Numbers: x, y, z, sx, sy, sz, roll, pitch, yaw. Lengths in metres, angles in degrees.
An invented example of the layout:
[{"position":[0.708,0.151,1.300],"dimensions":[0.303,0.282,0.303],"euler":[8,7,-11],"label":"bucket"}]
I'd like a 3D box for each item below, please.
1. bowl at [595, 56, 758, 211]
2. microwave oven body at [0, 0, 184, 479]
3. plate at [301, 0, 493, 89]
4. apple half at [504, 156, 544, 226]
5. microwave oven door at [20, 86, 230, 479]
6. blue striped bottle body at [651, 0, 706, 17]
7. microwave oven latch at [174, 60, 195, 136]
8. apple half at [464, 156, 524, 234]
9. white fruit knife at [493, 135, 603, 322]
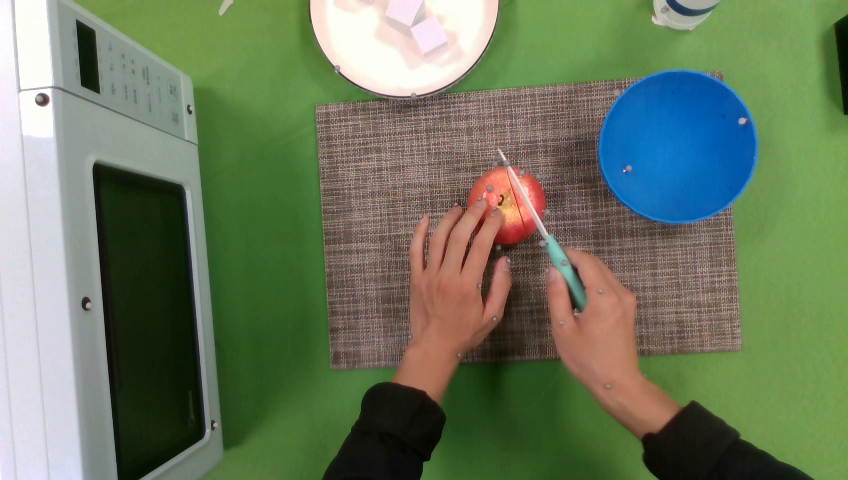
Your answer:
[{"position":[0.246,-0.102,0.621],"dimensions":[0.151,0.077,0.151],"euler":[0,90,5],"label":"bowl"},{"position":[-0.412,0.035,0.582],"dimensions":[0.326,0.260,0.441],"euler":[-6,90,4],"label":"microwave oven body"},{"position":[-0.028,-0.266,0.666],"dimensions":[0.207,0.039,0.207],"euler":[0,90,4],"label":"plate"},{"position":[0.108,-0.055,0.634],"dimensions":[0.033,0.081,0.081],"euler":[-19,88,9],"label":"apple half"},{"position":[-0.263,0.062,0.566],"dimensions":[0.039,0.244,0.355],"euler":[-6,89,5],"label":"microwave oven door"},{"position":[0.271,-0.273,0.601],"dimensions":[0.063,0.121,0.063],"euler":[0,90,5],"label":"blue striped bottle body"},{"position":[-0.274,-0.155,0.667],"dimensions":[0.030,0.029,0.079],"euler":[-6,90,4],"label":"microwave oven latch"},{"position":[0.070,-0.042,0.638],"dimensions":[0.053,0.074,0.081],"euler":[-18,92,8],"label":"apple half"},{"position":[0.116,-0.008,0.571],"dimensions":[0.016,0.027,0.208],"euler":[-32,99,-1],"label":"white fruit knife"}]
